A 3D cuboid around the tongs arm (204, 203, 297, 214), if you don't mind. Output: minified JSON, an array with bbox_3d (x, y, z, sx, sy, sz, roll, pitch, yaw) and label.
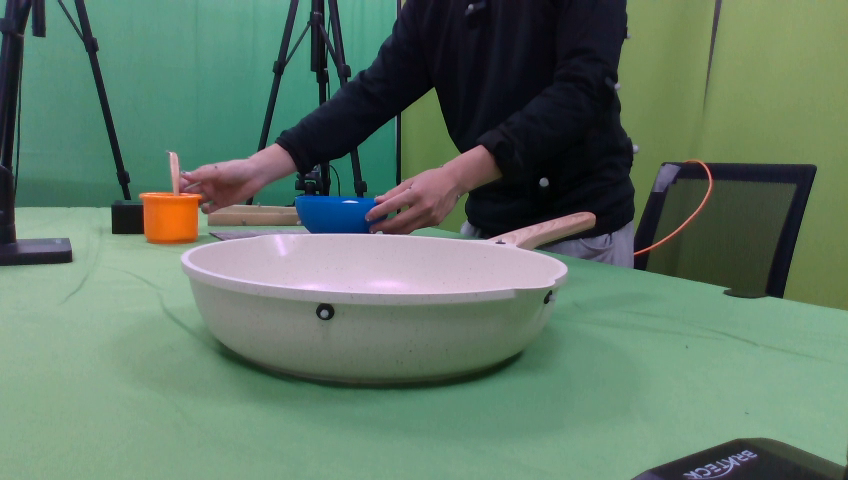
[{"bbox_3d":[-0.295,-0.061,1.370,0.386,0.026,0.050,1,9,-19],"label":"tongs arm"}]

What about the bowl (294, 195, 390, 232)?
[{"bbox_3d":[-0.130,-0.029,0.956,0.151,0.077,0.151,2,7,0],"label":"bowl"}]

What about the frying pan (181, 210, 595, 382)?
[{"bbox_3d":[0.034,0.019,0.557,0.305,0.102,0.490,10,19,42],"label":"frying pan"}]

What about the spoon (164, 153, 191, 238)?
[{"bbox_3d":[-0.408,-0.077,0.998,0.042,0.193,0.021,6,-39,-31],"label":"spoon"}]

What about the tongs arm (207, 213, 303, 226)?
[{"bbox_3d":[-0.264,-0.046,1.297,0.390,0.028,0.028,-2,7,-32],"label":"tongs arm"}]
